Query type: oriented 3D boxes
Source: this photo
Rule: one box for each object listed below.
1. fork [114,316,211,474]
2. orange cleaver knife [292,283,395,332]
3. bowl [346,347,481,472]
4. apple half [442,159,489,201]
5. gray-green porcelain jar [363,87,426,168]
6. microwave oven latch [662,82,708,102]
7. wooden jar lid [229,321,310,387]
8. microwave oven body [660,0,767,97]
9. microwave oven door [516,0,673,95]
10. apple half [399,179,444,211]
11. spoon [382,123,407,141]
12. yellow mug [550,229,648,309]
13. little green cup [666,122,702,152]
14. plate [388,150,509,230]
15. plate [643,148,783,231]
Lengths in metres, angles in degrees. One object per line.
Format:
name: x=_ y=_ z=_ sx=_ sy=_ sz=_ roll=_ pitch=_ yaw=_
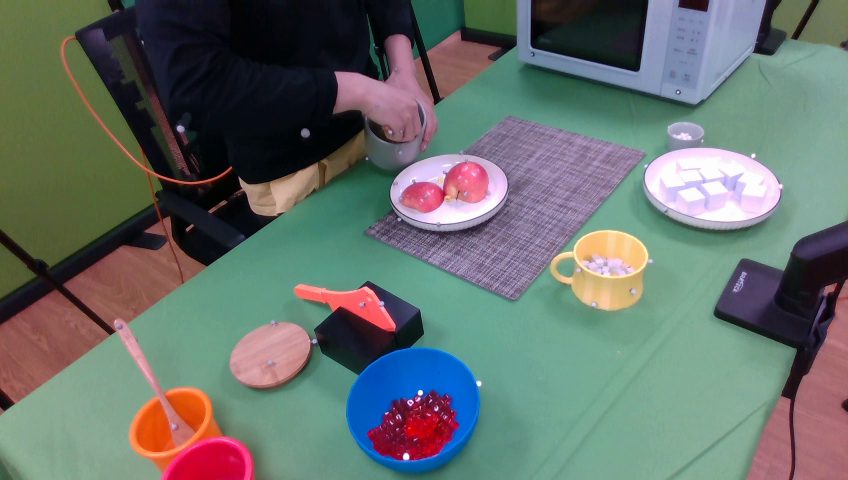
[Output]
fork: x=-0.308 y=0.179 z=0.708 sx=0.028 sy=0.018 sz=0.207 roll=-30 pitch=89 yaw=-23
orange cleaver knife: x=-0.115 y=0.092 z=0.835 sx=0.209 sy=0.077 sz=0.012 roll=1 pitch=32 yaw=48
bowl: x=-0.008 y=0.205 z=0.691 sx=0.151 sy=0.077 sz=0.150 roll=-4 pitch=40 yaw=4
apple half: x=0.074 y=-0.110 z=1.047 sx=0.080 sy=0.053 sz=0.075 roll=21 pitch=46 yaw=30
gray-green porcelain jar: x=-0.055 y=-0.193 z=1.073 sx=0.106 sy=0.126 sz=0.105 roll=2 pitch=74 yaw=-5
microwave oven latch: x=0.518 y=-0.299 z=1.203 sx=0.078 sy=0.029 sz=0.030 roll=29 pitch=53 yaw=36
wooden jar lid: x=-0.207 y=0.156 z=0.820 sx=0.108 sy=0.021 sz=0.108 roll=-3 pitch=39 yaw=3
microwave oven body: x=0.473 y=-0.517 z=1.314 sx=0.438 sy=0.261 sz=0.327 roll=26 pitch=51 yaw=34
microwave oven door: x=0.344 y=-0.458 z=1.256 sx=0.353 sy=0.245 sz=0.039 roll=26 pitch=51 yaw=33
apple half: x=-0.004 y=-0.087 z=1.045 sx=0.081 sy=0.033 sz=0.081 roll=-2 pitch=43 yaw=2
spoon: x=-0.050 y=-0.186 z=1.030 sx=0.021 sy=0.041 sz=0.194 roll=-38 pitch=-1 yaw=5
yellow mug: x=0.245 y=0.040 z=0.857 sx=0.130 sy=0.064 sz=0.099 roll=1 pitch=42 yaw=11
little green cup: x=0.472 y=-0.183 z=1.102 sx=0.061 sy=0.039 sz=0.061 roll=-5 pitch=40 yaw=5
plate: x=0.044 y=-0.083 z=1.042 sx=0.209 sy=0.038 sz=0.208 roll=-4 pitch=40 yaw=4
plate: x=0.464 y=-0.080 z=0.986 sx=0.207 sy=0.039 sz=0.206 roll=-4 pitch=41 yaw=4
